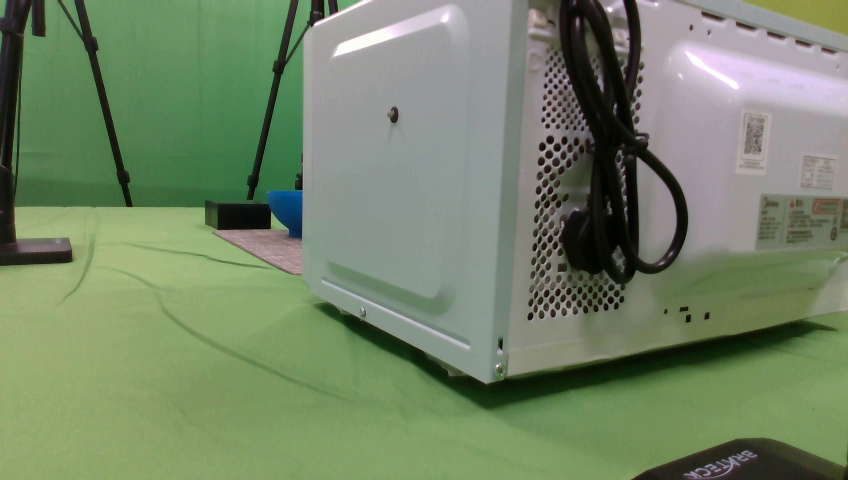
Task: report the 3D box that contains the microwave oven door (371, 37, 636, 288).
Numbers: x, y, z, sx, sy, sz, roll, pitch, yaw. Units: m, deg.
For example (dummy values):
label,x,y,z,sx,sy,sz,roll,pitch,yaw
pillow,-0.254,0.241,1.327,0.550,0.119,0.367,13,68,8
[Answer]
label,x,y,z,sx,sy,sz,roll,pitch,yaw
microwave oven door,0.109,-0.080,0.687,0.358,0.243,0.039,-2,9,-33

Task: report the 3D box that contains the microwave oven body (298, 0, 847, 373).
label,x,y,z,sx,sy,sz,roll,pitch,yaw
microwave oven body,0.151,-0.055,0.543,0.444,0.260,0.324,-1,7,-33

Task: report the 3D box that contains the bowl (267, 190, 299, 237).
label,x,y,z,sx,sy,sz,roll,pitch,yaw
bowl,-0.202,-0.046,1.069,0.151,0.077,0.151,3,7,0

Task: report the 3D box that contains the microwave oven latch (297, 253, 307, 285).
label,x,y,z,sx,sy,sz,roll,pitch,yaw
microwave oven latch,-0.082,0.027,0.583,0.079,0.029,0.030,-1,8,-33
